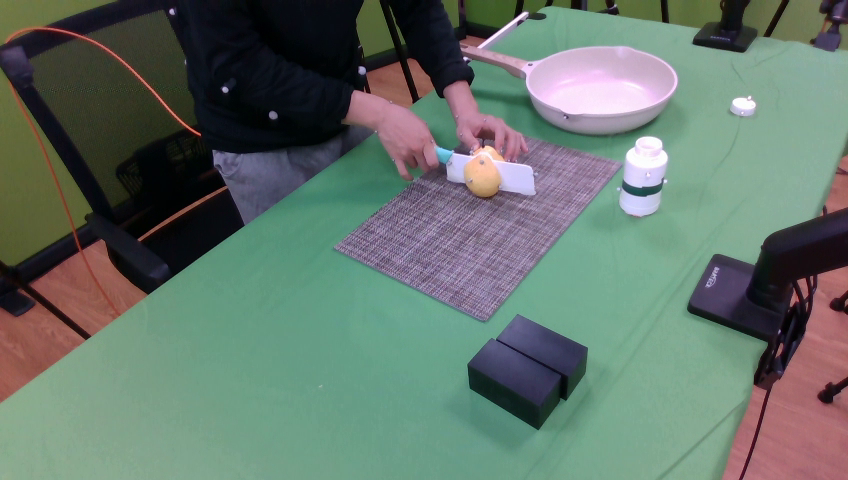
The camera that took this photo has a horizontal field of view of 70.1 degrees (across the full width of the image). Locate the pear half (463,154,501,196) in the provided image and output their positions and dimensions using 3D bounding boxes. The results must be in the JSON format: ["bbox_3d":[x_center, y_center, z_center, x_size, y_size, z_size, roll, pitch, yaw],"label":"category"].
[{"bbox_3d":[0.094,-0.103,1.019,0.070,0.088,0.031,15,53,15],"label":"pear half"}]

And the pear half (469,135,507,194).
[{"bbox_3d":[0.110,-0.138,1.039,0.076,0.110,0.056,13,44,19],"label":"pear half"}]

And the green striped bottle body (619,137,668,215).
[{"bbox_3d":[0.350,-0.103,0.963,0.063,0.120,0.063,-4,41,4],"label":"green striped bottle body"}]

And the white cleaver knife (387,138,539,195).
[{"bbox_3d":[0.060,-0.125,1.043,0.284,0.066,0.021,16,42,24],"label":"white cleaver knife"}]

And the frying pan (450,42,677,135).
[{"bbox_3d":[0.268,-0.344,1.267,0.485,0.103,0.307,25,49,21],"label":"frying pan"}]

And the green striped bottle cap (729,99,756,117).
[{"bbox_3d":[0.623,-0.259,1.182,0.044,0.020,0.044,-3,40,3],"label":"green striped bottle cap"}]
